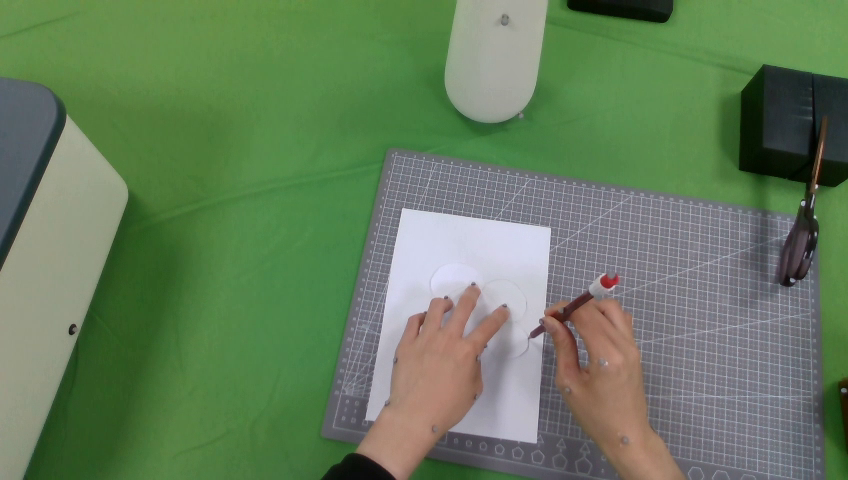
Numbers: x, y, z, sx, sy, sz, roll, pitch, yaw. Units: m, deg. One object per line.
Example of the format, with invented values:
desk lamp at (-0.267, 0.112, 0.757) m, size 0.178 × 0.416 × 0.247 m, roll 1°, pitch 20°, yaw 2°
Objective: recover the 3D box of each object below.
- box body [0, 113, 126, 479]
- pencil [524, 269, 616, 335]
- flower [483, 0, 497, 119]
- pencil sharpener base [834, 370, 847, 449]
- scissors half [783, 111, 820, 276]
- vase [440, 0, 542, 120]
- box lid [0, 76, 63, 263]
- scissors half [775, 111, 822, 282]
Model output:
box body at (-0.443, 0.051, 0.501) m, size 0.254 × 0.161 × 0.362 m, roll 10°, pitch 71°, yaw 3°
pencil at (0.109, 0.056, 0.486) m, size 0.012 × 0.195 × 0.012 m, roll 3°, pitch 70°, yaw -7°
flower at (0.061, -0.244, 0.506) m, size 0.044 × 0.365 × 0.038 m, roll 3°, pitch 52°, yaw 4°
pencil sharpener base at (0.410, 0.146, 0.510) m, size 0.061 × 0.107 × 0.076 m, roll 5°, pitch 71°, yaw 1°
scissors half at (0.363, -0.048, 0.573) m, size 0.013 × 0.040 × 0.174 m, roll 15°, pitch 71°, yaw 14°
vase at (0.065, -0.202, 0.579) m, size 0.098 × 0.201 × 0.097 m, roll 0°, pitch 69°, yaw 1°
box lid at (-0.443, 0.023, 0.431) m, size 0.263 × 0.015 × 0.369 m, roll 10°, pitch 70°, yaw 2°
scissors half at (0.369, -0.044, 0.592) m, size 0.012 × 0.040 × 0.175 m, roll 14°, pitch 89°, yaw 19°
